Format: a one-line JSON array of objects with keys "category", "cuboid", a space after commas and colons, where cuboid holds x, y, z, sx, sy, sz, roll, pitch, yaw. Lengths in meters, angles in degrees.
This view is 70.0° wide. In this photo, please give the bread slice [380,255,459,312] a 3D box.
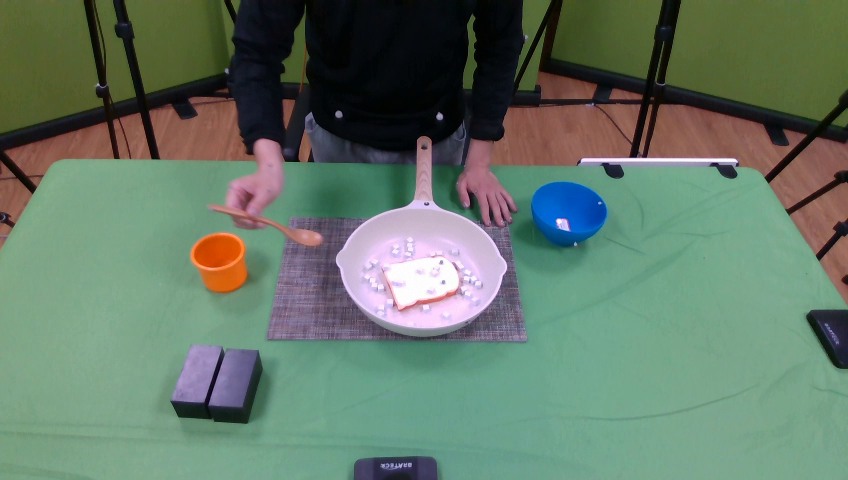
[{"category": "bread slice", "cuboid": [-0.005, 0.075, 1.119, 0.134, 0.018, 0.106, -16, 49, -16]}]

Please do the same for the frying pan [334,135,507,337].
[{"category": "frying pan", "cuboid": [-0.004, -0.026, 1.160, 0.307, 0.103, 0.485, 4, 55, -2]}]

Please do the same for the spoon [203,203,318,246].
[{"category": "spoon", "cuboid": [-0.257, -0.028, 0.969, 0.195, 0.021, 0.041, 24, 30, -37]}]

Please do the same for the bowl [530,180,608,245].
[{"category": "bowl", "cuboid": [0.284, -0.044, 1.222, 0.151, 0.077, 0.150, 2, 46, -2]}]
